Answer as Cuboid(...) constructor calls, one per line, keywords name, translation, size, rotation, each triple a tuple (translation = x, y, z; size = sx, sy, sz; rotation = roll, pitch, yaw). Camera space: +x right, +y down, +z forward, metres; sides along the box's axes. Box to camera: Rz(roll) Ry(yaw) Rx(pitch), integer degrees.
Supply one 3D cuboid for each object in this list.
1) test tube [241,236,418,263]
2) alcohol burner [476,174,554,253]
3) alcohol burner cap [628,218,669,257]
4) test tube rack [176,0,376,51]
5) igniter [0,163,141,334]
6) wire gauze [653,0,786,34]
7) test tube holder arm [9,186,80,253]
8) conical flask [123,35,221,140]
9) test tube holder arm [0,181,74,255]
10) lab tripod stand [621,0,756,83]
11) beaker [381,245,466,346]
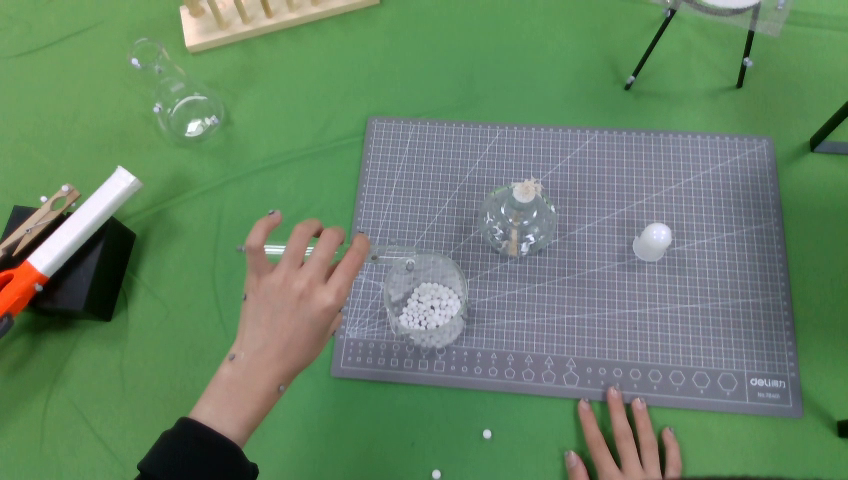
Cuboid(name="test tube", translation=(-0.079, 0.008, 0.499), size=(0.150, 0.017, 0.017), rotation=(2, 69, 9))
Cuboid(name="alcohol burner", translation=(0.090, -0.032, 0.590), size=(0.078, 0.120, 0.077), rotation=(0, 69, 1))
Cuboid(name="alcohol burner cap", translation=(0.229, -0.006, 0.611), size=(0.034, 0.048, 0.033), rotation=(-1, 69, 3))
Cuboid(name="test tube rack", translation=(-0.187, -0.309, 0.725), size=(0.242, 0.086, 0.066), rotation=(-16, 70, -3))
Cuboid(name="igniter", translation=(-0.389, 0.033, 0.592), size=(0.057, 0.025, 0.276), rotation=(32, 74, 24))
Cuboid(name="wire gauze", translation=(0.293, -0.261, 0.582), size=(0.121, 0.011, 0.124), rotation=(25, 74, 10))
Cuboid(name="test tube holder arm", translation=(-0.386, -0.021, 0.614), size=(0.010, 0.015, 0.087), rotation=(46, 77, -14))
Cuboid(name="conical flask", translation=(-0.278, -0.168, 0.659), size=(0.075, 0.123, 0.075), rotation=(-1, 69, 3))
Cuboid(name="test tube holder arm", translation=(-0.420, 0.008, 0.602), size=(0.013, 0.015, 0.178), rotation=(46, 77, -14))
Cuboid(name="lab tripod stand", translation=(0.290, -0.237, 0.645), size=(0.148, 0.132, 0.147), rotation=(0, 69, 2))
Cuboid(name="beaker", translation=(0.001, 0.060, 0.569), size=(0.073, 0.101, 0.084), rotation=(34, 75, 15))
